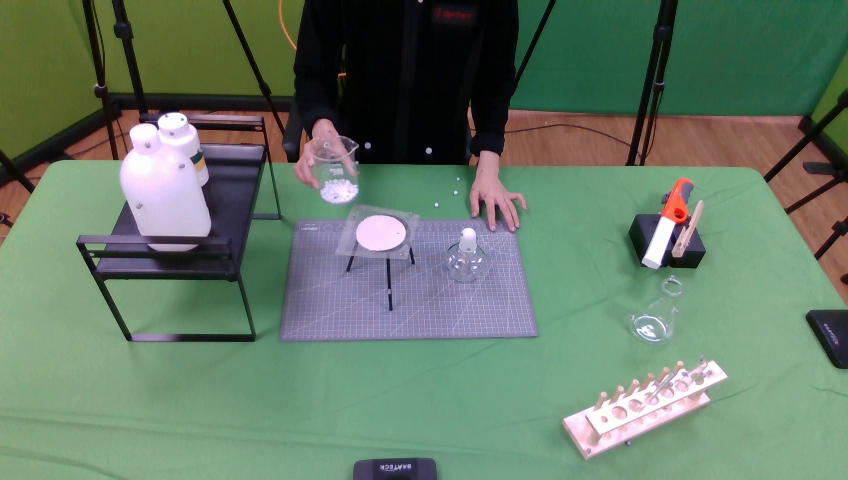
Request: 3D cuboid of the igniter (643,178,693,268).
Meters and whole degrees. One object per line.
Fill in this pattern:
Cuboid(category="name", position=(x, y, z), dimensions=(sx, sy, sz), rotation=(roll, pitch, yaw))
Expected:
Cuboid(category="igniter", position=(0.488, -0.042, 1.205), dimensions=(0.057, 0.025, 0.276), rotation=(30, 51, 11))

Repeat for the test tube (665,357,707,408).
Cuboid(category="test tube", position=(0.387, 0.216, 0.905), dimensions=(0.017, 0.151, 0.017), rotation=(1, 52, -1))

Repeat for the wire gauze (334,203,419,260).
Cuboid(category="wire gauze", position=(-0.079, -0.014, 1.030), dimensions=(0.121, 0.011, 0.124), rotation=(8, 45, 6))

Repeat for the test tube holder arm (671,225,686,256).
Cuboid(category="test tube holder arm", position=(0.494, 0.001, 1.166), dimensions=(0.010, 0.015, 0.087), rotation=(1, 36, 42))

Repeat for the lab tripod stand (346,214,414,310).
Cuboid(category="lab tripod stand", position=(-0.075, 0.030, 1.082), dimensions=(0.148, 0.132, 0.147), rotation=(1, 47, -1))

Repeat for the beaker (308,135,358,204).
Cuboid(category="beaker", position=(-0.150, -0.119, 1.037), dimensions=(0.084, 0.101, 0.073), rotation=(-14, 43, -13))

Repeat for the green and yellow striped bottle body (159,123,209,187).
Cuboid(category="green and yellow striped bottle body", position=(-0.395, -0.145, 0.989), dimensions=(0.063, 0.120, 0.063), rotation=(2, 46, -2))

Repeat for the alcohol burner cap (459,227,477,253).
Cuboid(category="alcohol burner cap", position=(0.079, -0.002, 1.088), dimensions=(0.034, 0.048, 0.033), rotation=(-1, 54, 2))

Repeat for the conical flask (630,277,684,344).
Cuboid(category="conical flask", position=(0.408, 0.117, 1.045), dimensions=(0.075, 0.122, 0.075), rotation=(2, 46, -2))

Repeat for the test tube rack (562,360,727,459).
Cuboid(category="test tube rack", position=(0.341, 0.247, 0.940), dimensions=(0.243, 0.085, 0.066), rotation=(-16, 49, -19))

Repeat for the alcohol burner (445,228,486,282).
Cuboid(category="alcohol burner", position=(0.077, 0.021, 1.115), dimensions=(0.078, 0.120, 0.077), rotation=(1, 48, -1))

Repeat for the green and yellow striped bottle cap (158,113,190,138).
Cuboid(category="green and yellow striped bottle cap", position=(-0.393, -0.180, 0.951), dimensions=(0.045, 0.020, 0.045), rotation=(2, 44, -2))

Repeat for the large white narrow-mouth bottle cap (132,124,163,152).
Cuboid(category="large white narrow-mouth bottle cap", position=(-0.371, -0.138, 0.812), dimensions=(0.038, 0.024, 0.037), rotation=(3, 46, -3))

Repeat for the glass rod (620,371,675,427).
Cuboid(category="glass rod", position=(0.315, 0.230, 0.863), dimensions=(0.008, 0.200, 0.008), rotation=(3, 54, -3))

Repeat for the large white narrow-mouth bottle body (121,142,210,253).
Cuboid(category="large white narrow-mouth bottle body", position=(-0.378, -0.077, 0.875), dimensions=(0.102, 0.195, 0.101), rotation=(3, 46, -3))

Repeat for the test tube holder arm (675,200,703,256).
Cuboid(category="test tube holder arm", position=(0.523, -0.025, 1.190), dimensions=(0.013, 0.015, 0.178), rotation=(1, 36, 41))
